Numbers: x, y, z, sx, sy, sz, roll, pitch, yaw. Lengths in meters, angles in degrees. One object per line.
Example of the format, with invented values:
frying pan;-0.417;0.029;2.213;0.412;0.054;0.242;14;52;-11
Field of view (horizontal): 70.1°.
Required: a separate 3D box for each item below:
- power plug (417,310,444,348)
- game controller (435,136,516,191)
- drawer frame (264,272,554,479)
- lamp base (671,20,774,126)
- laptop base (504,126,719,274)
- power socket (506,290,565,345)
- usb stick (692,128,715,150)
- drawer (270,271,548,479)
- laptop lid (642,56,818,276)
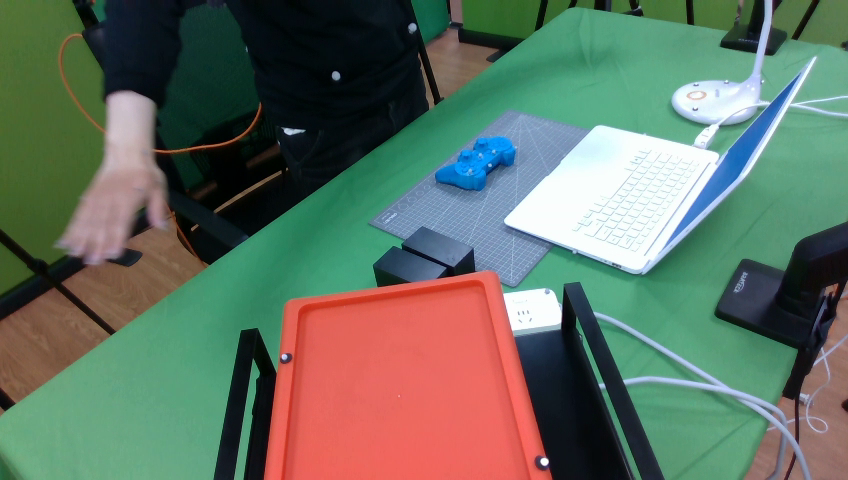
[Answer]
power plug;0.007;0.123;0.784;0.035;0.053;0.072;-1;42;7
game controller;0.099;-0.150;1.110;0.096;0.052;0.155;30;53;29
drawer frame;-0.016;0.134;0.494;0.202;0.083;0.212;-8;41;-2
lamp base;0.581;-0.332;1.154;0.179;0.181;0.160;2;41;7
laptop base;0.326;-0.083;1.028;0.233;0.023;0.355;21;48;32
power socket;0.081;0.112;0.822;0.227;0.033;0.072;-7;40;0
usb stick;0.501;-0.176;1.091;0.021;0.027;0.059;30;56;29
drawer;-0.018;0.132;0.499;0.195;0.073;0.210;-7;41;-1
laptop lid;0.445;-0.108;0.876;0.013;0.241;0.357;39;53;12
